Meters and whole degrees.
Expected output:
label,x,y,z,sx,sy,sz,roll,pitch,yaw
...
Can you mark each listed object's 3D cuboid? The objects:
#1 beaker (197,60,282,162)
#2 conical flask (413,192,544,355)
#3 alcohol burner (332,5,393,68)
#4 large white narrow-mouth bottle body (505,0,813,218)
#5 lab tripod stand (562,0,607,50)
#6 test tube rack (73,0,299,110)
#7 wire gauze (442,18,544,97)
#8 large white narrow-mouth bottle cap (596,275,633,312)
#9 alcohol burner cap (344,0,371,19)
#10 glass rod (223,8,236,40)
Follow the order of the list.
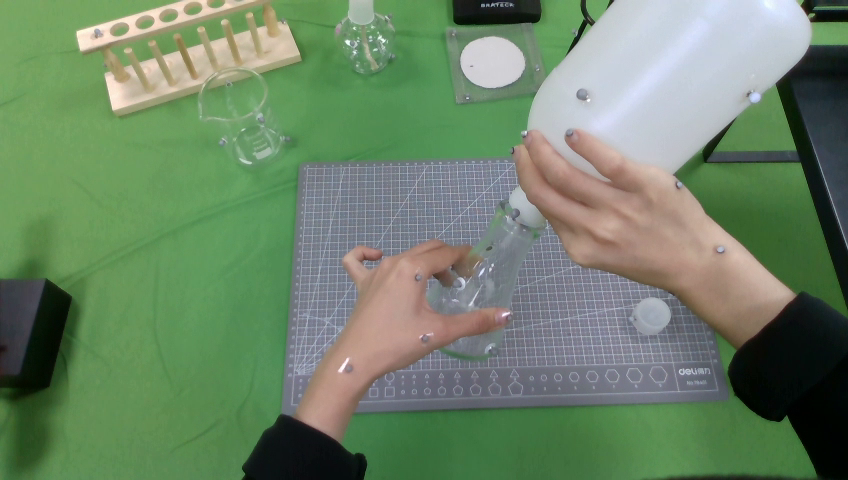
label,x,y,z,sx,sy,sz,roll,pitch,yaw
beaker,-0.210,-0.143,0.699,0.084,0.101,0.073,-41,71,-17
conical flask,0.046,0.023,0.457,0.075,0.122,0.074,19,33,-12
alcohol burner,-0.078,-0.274,0.754,0.078,0.120,0.077,0,62,0
large white narrow-mouth bottle body,0.126,-0.088,0.381,0.195,0.102,0.101,-46,65,28
lab tripod stand,0.219,-0.237,0.726,0.148,0.132,0.147,1,64,-1
test tube rack,-0.289,-0.248,0.756,0.242,0.086,0.066,-20,67,-9
wire gauze,0.091,-0.245,0.798,0.121,0.011,0.124,-6,65,-4
large white narrow-mouth bottle cap,0.204,0.058,0.650,0.038,0.024,0.037,-1,64,2
alcohol burner cap,-0.078,-0.292,0.721,0.034,0.048,0.033,4,63,-8
glass rod,-0.243,-0.310,0.712,0.008,0.201,0.008,2,63,-4
